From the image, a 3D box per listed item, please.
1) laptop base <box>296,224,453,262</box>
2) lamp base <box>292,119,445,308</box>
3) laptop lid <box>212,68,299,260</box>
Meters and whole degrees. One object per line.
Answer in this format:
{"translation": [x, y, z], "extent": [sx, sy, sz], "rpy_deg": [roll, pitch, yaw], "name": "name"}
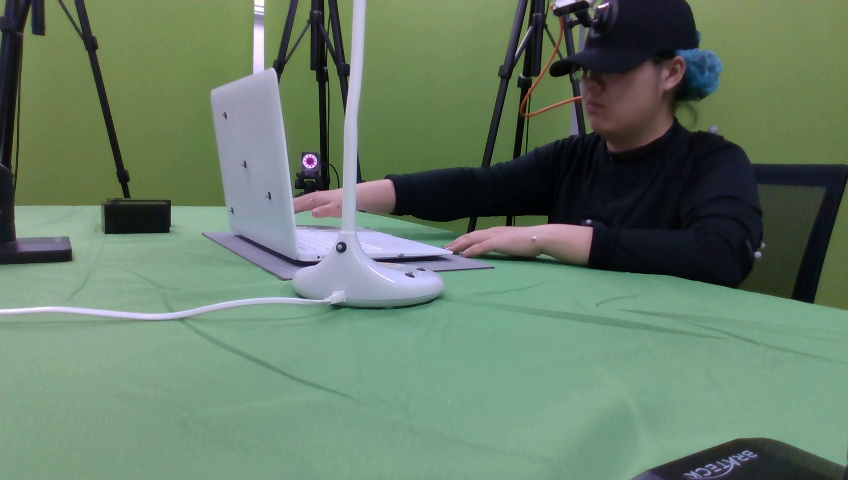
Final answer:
{"translation": [-0.143, 0.003, 0.957], "extent": [0.237, 0.023, 0.352], "rpy_deg": [3, 6, -31], "name": "laptop base"}
{"translation": [-0.056, -0.030, 0.616], "extent": [0.160, 0.180, 0.179], "rpy_deg": [3, 10, 8], "name": "lamp base"}
{"translation": [-0.254, -0.110, 0.872], "extent": [0.013, 0.241, 0.355], "rpy_deg": [-11, 14, -30], "name": "laptop lid"}
